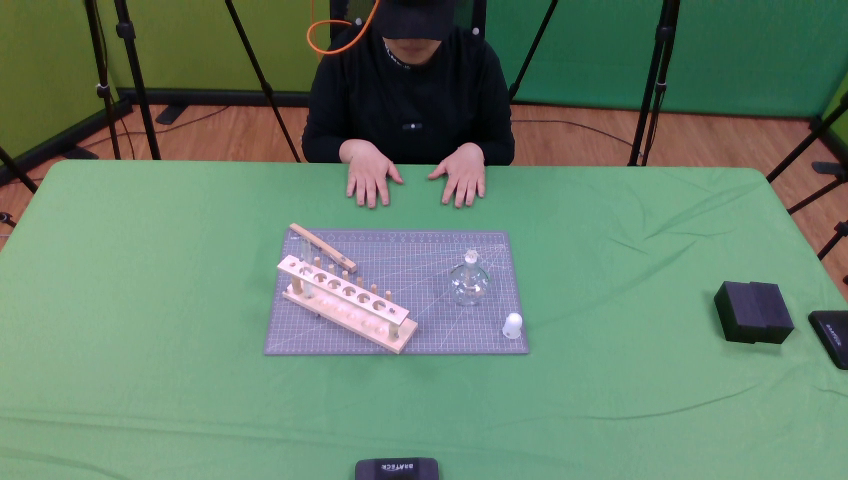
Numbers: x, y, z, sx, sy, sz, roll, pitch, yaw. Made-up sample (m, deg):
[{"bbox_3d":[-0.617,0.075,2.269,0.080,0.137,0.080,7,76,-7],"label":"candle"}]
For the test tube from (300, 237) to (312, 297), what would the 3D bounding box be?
[{"bbox_3d":[-0.198,0.049,1.019,0.017,0.151,0.017,4,49,-5],"label":"test tube"}]

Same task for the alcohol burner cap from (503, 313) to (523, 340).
[{"bbox_3d":[0.155,0.147,1.051,0.034,0.048,0.033,1,45,-1],"label":"alcohol burner cap"}]

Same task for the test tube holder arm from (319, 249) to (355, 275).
[{"bbox_3d":[-0.166,0.038,1.154,0.087,0.010,0.015,37,49,21],"label":"test tube holder arm"}]

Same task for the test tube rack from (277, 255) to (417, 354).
[{"bbox_3d":[-0.131,0.099,1.045,0.241,0.085,0.066,23,49,17],"label":"test tube rack"}]

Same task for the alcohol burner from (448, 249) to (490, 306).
[{"bbox_3d":[0.081,0.062,1.078,0.078,0.120,0.077,1,45,-1],"label":"alcohol burner"}]

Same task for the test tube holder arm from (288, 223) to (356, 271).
[{"bbox_3d":[-0.199,0.011,1.169,0.177,0.013,0.015,32,47,26],"label":"test tube holder arm"}]
